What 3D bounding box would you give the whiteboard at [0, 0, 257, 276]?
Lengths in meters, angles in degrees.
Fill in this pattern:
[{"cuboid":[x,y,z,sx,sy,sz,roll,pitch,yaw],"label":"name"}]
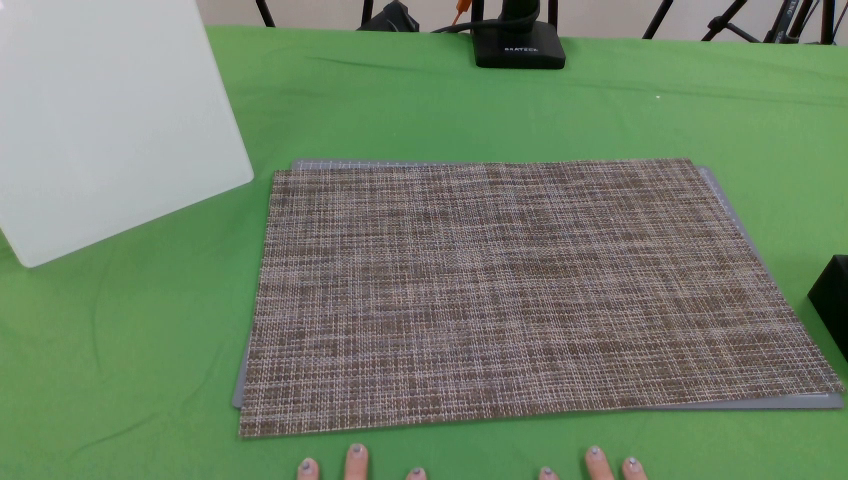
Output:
[{"cuboid":[-0.320,-0.164,0.544,0.217,0.308,0.142,-27,32,-27],"label":"whiteboard"}]
